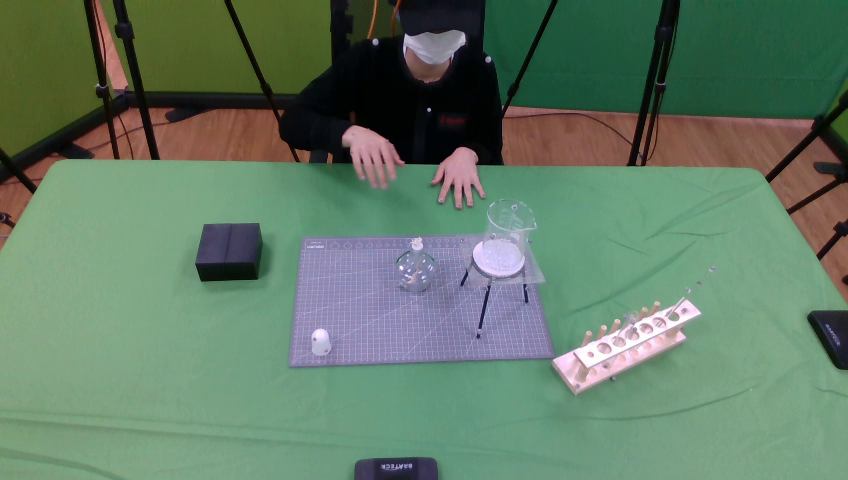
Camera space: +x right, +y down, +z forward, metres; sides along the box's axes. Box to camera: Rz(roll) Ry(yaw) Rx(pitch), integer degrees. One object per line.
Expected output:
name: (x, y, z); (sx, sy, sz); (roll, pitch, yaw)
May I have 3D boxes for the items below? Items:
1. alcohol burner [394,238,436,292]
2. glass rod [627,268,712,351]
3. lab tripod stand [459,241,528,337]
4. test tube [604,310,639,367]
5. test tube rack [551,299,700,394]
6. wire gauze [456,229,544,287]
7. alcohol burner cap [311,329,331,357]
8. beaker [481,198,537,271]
alcohol burner: (-0.016, 0.038, 1.093); (0.078, 0.119, 0.077); (2, 48, -2)
glass rod: (0.399, 0.117, 0.995); (0.008, 0.200, 0.008); (26, 29, -15)
lab tripod stand: (0.122, 0.075, 1.054); (0.148, 0.132, 0.147); (3, 44, -3)
test tube: (0.310, 0.158, 0.957); (0.017, 0.151, 0.017); (1, 49, -1)
test tube rack: (0.339, 0.166, 1.021); (0.242, 0.085, 0.066); (-19, 50, -21)
wire gauze: (0.125, 0.030, 1.008); (0.125, 0.011, 0.120); (-3, 48, -11)
alcohol burner cap: (-0.173, 0.168, 1.005); (0.034, 0.048, 0.033); (2, 46, -2)
beaker: (0.134, -0.005, 0.974); (0.084, 0.101, 0.074); (23, 49, 16)
